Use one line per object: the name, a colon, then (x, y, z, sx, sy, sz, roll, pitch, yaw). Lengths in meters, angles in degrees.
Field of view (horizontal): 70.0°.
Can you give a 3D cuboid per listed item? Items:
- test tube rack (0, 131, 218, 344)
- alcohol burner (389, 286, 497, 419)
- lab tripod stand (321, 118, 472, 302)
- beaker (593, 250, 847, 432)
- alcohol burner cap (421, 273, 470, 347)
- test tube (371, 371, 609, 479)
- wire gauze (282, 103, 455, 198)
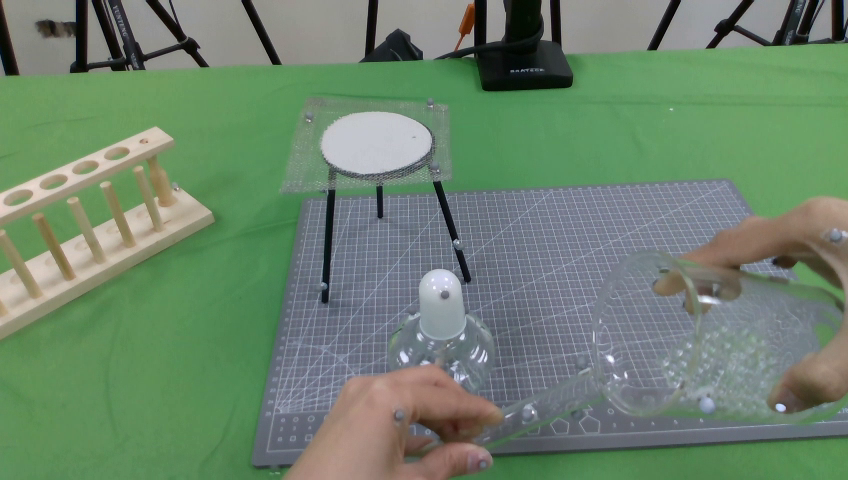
test tube rack: (-0.316, -0.002, 0.537, 0.066, 0.086, 0.242, 32, 51, 32)
alcohol burner: (0.013, 0.070, 0.419, 0.078, 0.120, 0.077, -1, 43, 1)
lab tripod stand: (-0.028, -0.025, 0.512, 0.148, 0.132, 0.147, 0, 41, 0)
beaker: (0.142, 0.053, 0.285, 0.101, 0.084, 0.073, 9, 41, -16)
alcohol burner cap: (0.013, 0.043, 0.395, 0.034, 0.048, 0.033, -3, 41, 3)
test tube: (0.029, 0.108, 0.325, 0.150, 0.017, 0.017, -32, 36, 22)
wire gauze: (-0.038, -0.073, 0.466, 0.121, 0.011, 0.124, 0, 42, 1)
